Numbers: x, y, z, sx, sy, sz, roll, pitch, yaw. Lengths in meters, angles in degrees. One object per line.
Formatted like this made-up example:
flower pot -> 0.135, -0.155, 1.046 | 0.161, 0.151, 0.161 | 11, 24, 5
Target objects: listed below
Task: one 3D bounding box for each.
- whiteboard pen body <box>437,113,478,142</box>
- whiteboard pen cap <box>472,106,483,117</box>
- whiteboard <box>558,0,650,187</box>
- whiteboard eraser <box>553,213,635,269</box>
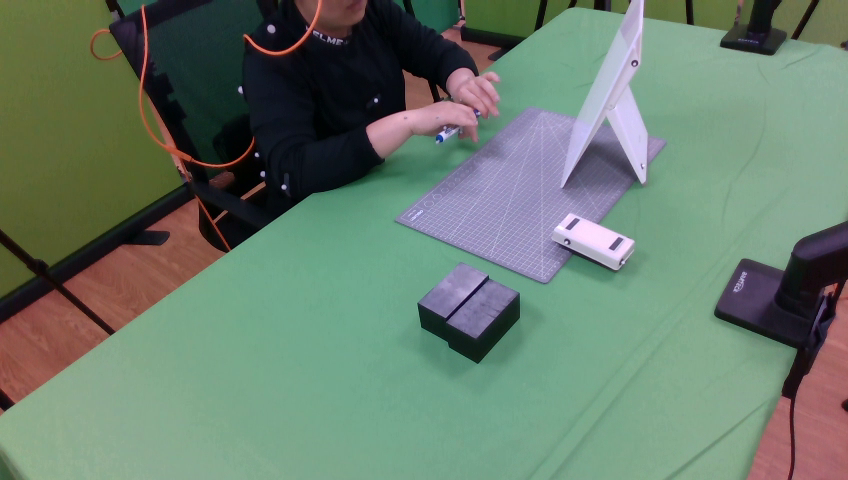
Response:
whiteboard pen body -> 0.069, -0.215, 1.130 | 0.017, 0.017, 0.141 | 21, 41, 30
whiteboard pen cap -> 0.104, -0.249, 1.170 | 0.018, 0.018, 0.033 | -10, 25, -2
whiteboard -> 0.362, -0.238, 1.026 | 0.144, 0.306, 0.217 | 21, 45, 4
whiteboard eraser -> 0.257, 0.003, 0.918 | 0.112, 0.042, 0.056 | 27, 49, 30
